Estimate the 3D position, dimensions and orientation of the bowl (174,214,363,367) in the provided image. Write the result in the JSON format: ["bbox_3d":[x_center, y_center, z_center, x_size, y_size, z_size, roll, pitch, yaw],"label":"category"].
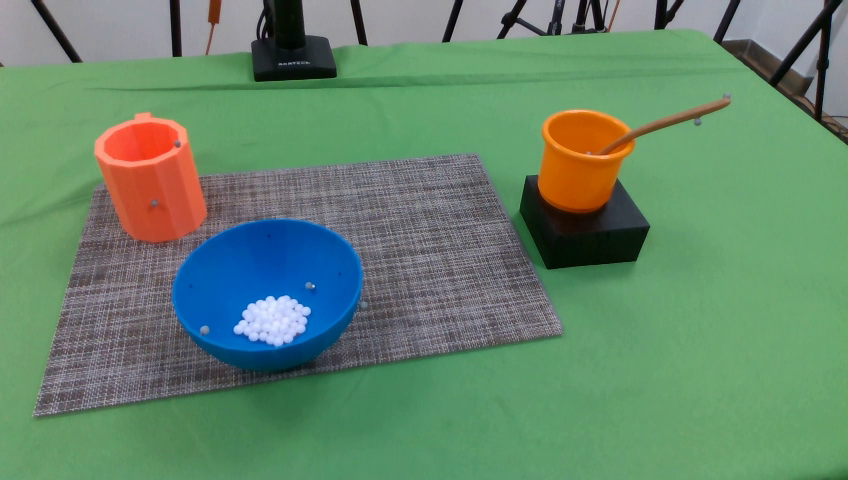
[{"bbox_3d":[-0.126,0.055,0.519,0.151,0.077,0.150,3,43,-2],"label":"bowl"}]

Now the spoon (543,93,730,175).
[{"bbox_3d":[0.198,-0.101,0.592,0.022,0.193,0.041,54,46,-11],"label":"spoon"}]

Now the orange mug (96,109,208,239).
[{"bbox_3d":[-0.283,-0.077,0.634,0.084,0.101,0.125,-12,50,-17],"label":"orange mug"}]
